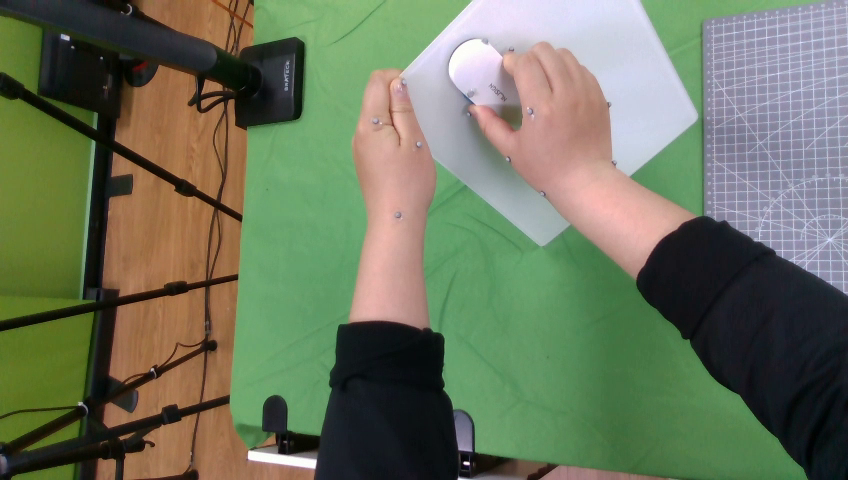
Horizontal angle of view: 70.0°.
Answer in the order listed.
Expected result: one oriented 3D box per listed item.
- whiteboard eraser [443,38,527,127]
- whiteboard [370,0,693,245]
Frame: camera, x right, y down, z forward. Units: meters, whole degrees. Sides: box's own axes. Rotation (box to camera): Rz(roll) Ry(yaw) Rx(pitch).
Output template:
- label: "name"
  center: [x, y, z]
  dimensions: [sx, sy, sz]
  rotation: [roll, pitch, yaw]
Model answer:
- label: "whiteboard eraser"
  center: [0.052, -0.129, 0.503]
  dimensions: [0.041, 0.102, 0.018]
  rotation: [-44, 51, 13]
- label: "whiteboard"
  center: [0.097, -0.166, 0.604]
  dimensions: [0.217, 0.309, 0.142]
  rotation: [-42, 49, 15]
